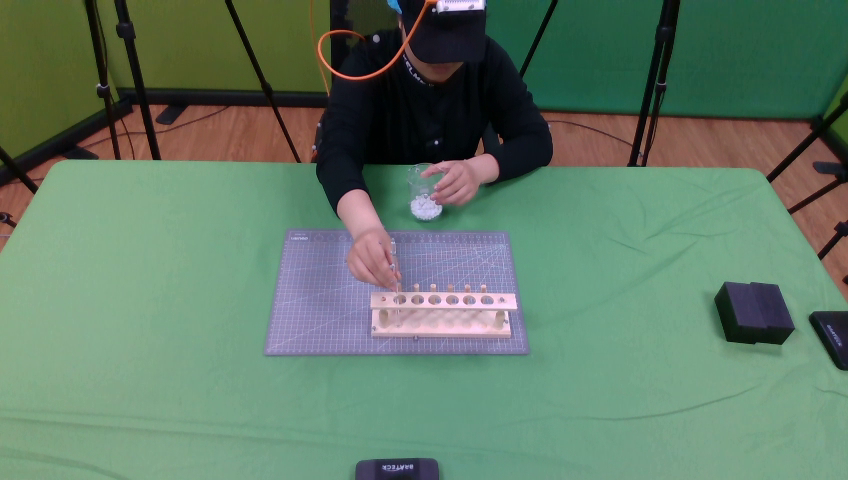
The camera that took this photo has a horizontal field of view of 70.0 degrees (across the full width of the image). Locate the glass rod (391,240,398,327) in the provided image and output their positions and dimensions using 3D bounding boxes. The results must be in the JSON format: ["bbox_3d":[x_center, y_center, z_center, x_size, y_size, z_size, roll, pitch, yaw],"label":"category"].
[{"bbox_3d":[-0.048,0.075,0.982,0.008,0.201,0.008,0,42,0],"label":"glass rod"}]

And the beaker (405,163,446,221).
[{"bbox_3d":[0.005,-0.095,1.225,0.084,0.101,0.073,-16,49,-12],"label":"beaker"}]

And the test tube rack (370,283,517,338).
[{"bbox_3d":[0.030,0.117,1.041,0.242,0.085,0.066,1,46,-3],"label":"test tube rack"}]
